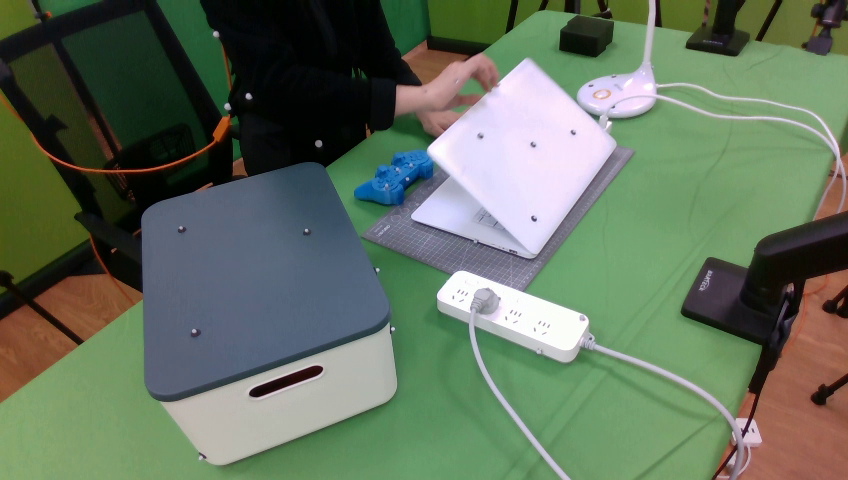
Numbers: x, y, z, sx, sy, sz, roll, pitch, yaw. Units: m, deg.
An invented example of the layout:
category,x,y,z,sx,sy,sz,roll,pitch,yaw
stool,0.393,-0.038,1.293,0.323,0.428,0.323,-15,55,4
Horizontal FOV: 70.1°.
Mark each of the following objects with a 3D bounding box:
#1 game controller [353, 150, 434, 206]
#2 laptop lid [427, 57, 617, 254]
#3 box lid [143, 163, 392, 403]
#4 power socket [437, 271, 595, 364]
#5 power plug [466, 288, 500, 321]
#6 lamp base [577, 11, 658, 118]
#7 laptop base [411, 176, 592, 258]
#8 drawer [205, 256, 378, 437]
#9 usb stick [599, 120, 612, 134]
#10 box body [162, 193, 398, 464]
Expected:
category,x,y,z,sx,sy,sz,roll,pitch,yaw
game controller,-0.051,-0.121,1.105,0.096,0.052,0.155,24,49,27
laptop lid,0.180,-0.158,1.008,0.241,0.013,0.357,46,53,-1
box lid,-0.212,0.025,0.753,0.264,0.015,0.368,-18,41,-13
power socket,0.118,0.102,0.830,0.225,0.033,0.072,20,48,28
power plug,0.072,0.093,0.813,0.073,0.053,0.035,-37,49,-28
lamp base,0.406,-0.363,1.222,0.180,0.181,0.159,-20,42,-18
laptop base,0.167,-0.102,1.074,0.234,0.023,0.355,16,45,30
drawer,-0.177,0.129,0.787,0.195,0.073,0.210,-13,39,-10
usb stick,0.335,-0.203,1.148,0.021,0.027,0.059,24,51,26
box body,-0.205,0.080,0.802,0.255,0.161,0.361,-18,41,-13
